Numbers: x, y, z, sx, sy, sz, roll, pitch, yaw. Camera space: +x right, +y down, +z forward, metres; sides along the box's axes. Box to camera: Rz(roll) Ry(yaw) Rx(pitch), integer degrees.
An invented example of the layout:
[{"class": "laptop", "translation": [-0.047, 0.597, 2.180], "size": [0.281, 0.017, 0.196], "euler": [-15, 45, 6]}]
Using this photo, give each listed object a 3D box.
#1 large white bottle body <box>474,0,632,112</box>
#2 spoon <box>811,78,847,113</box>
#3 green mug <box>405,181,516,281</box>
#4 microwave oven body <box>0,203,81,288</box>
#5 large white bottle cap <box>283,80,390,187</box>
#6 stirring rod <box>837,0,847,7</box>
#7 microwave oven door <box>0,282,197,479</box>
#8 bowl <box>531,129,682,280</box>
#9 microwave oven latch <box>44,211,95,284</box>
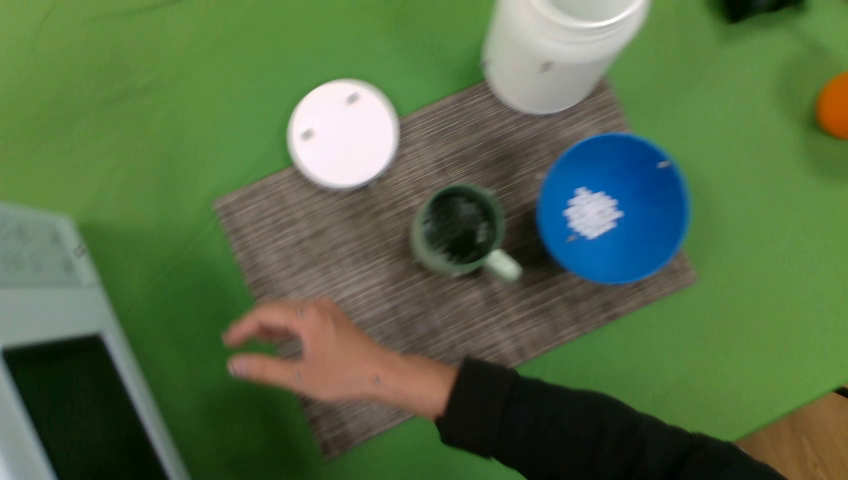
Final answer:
[{"class": "large white bottle body", "translation": [0.120, -0.214, 0.586], "size": [0.131, 0.185, 0.130], "euler": [0, 83, -1]}, {"class": "spoon", "translation": [0.515, -0.156, 0.627], "size": [0.022, 0.192, 0.041], "euler": [20, 79, -46]}, {"class": "green mug", "translation": [0.040, -0.002, 0.612], "size": [0.125, 0.105, 0.092], "euler": [38, 85, -1]}, {"class": "microwave oven body", "translation": [-0.415, 0.229, 0.500], "size": [0.326, 0.260, 0.441], "euler": [-26, 89, -5]}, {"class": "large white bottle cap", "translation": [-0.094, -0.114, 0.653], "size": [0.115, 0.018, 0.114], "euler": [0, 86, -3]}, {"class": "stirring rod", "translation": [0.386, -0.300, 0.644], "size": [0.176, 0.006, 0.014], "euler": [32, 120, -1]}, {"class": "microwave oven door", "translation": [-0.265, 0.201, 0.504], "size": [0.039, 0.244, 0.355], "euler": [-27, 89, -4]}, {"class": "bowl", "translation": [0.180, -0.033, 0.635], "size": [0.151, 0.077, 0.151], "euler": [0, 88, -2]}, {"class": "microwave oven latch", "translation": [-0.365, 0.011, 0.609], "size": [0.030, 0.029, 0.079], "euler": [-26, 90, -5]}]
